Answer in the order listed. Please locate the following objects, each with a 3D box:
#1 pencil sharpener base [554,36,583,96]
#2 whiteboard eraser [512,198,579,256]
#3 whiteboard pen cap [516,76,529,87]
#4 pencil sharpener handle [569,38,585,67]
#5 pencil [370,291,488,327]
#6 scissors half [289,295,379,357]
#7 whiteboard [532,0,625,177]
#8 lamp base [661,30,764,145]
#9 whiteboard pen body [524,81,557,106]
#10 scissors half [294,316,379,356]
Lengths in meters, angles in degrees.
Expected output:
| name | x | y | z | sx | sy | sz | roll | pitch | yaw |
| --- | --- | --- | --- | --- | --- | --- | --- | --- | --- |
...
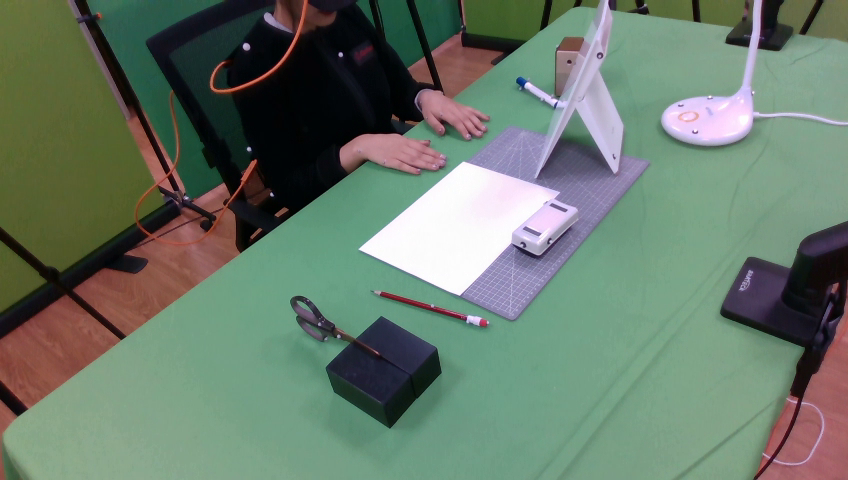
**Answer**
| name | x | y | z | sx | sy | sz | roll | pitch | yaw |
| --- | --- | --- | --- | --- | --- | --- | --- | --- | --- |
| pencil sharpener base | 0.317 | -0.371 | 1.290 | 0.061 | 0.107 | 0.076 | 10 | 44 | 22 |
| whiteboard eraser | 0.191 | -0.019 | 0.949 | 0.055 | 0.042 | 0.113 | 26 | 51 | 36 |
| whiteboard pen cap | 0.221 | -0.355 | 1.352 | 0.018 | 0.018 | 0.033 | -24 | 46 | -17 |
| pencil sharpener handle | 0.332 | -0.413 | 1.317 | 0.036 | 0.068 | 0.030 | 19 | 46 | 13 |
| pencil | 0.003 | 0.097 | 0.876 | 0.193 | 0.012 | 0.012 | 13 | 45 | 25 |
| scissors half | -0.123 | 0.114 | 0.803 | 0.174 | 0.040 | 0.013 | 26 | 48 | 32 |
| whiteboard | 0.320 | -0.258 | 1.050 | 0.144 | 0.306 | 0.217 | 21 | 45 | 5 |
| lamp base | 0.535 | -0.287 | 1.095 | 0.179 | 0.181 | 0.159 | -10 | 40 | -4 |
| whiteboard pen body | 0.249 | -0.321 | 1.313 | 0.017 | 0.017 | 0.139 | -24 | 44 | -17 |
| scissors half | -0.119 | 0.132 | 0.813 | 0.174 | 0.040 | 0.013 | 9 | 31 | 44 |
